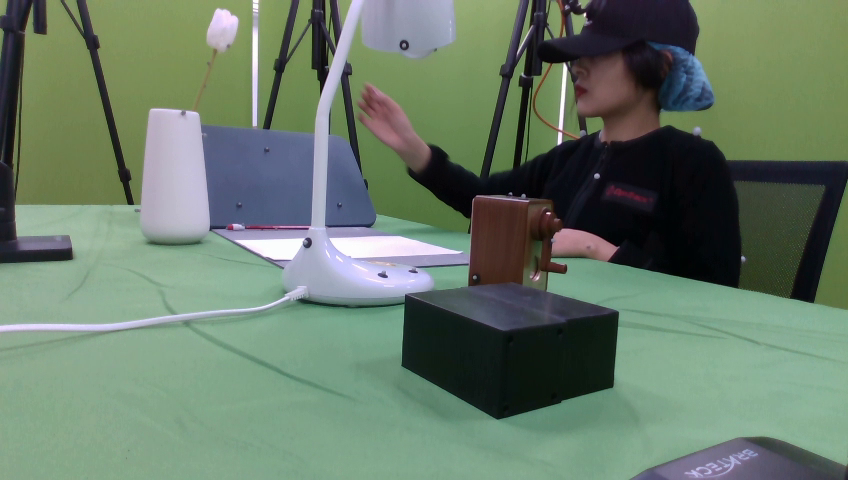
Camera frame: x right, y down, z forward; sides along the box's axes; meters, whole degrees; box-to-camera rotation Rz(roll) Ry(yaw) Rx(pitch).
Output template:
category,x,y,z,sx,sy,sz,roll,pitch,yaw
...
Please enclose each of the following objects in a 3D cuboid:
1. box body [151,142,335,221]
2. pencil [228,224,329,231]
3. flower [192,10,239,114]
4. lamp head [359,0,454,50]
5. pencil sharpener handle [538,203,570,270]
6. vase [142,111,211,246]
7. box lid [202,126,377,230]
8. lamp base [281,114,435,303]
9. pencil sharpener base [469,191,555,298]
category,x,y,z,sx,sy,sz,roll,pitch,yaw
box body,-0.413,-0.135,1.379,0.366,0.160,0.253,-2,9,-31
pencil,-0.266,-0.024,1.124,0.195,0.012,0.012,-1,8,-32
flower,-0.354,-0.174,0.915,0.038,0.361,0.044,18,-4,12
lamp head,-0.024,-0.283,0.674,0.112,0.123,0.112,-3,38,3
pencil sharpener handle,0.137,-0.003,0.619,0.030,0.067,0.036,8,5,38
vase,-0.378,-0.093,0.920,0.098,0.200,0.098,2,9,0
box lid,-0.290,-0.128,1.237,0.373,0.262,0.015,-2,-35,-32
lamp base,-0.071,-0.035,0.614,0.160,0.180,0.180,6,10,27
pencil sharpener base,0.097,0.003,0.652,0.076,0.107,0.061,8,9,38
